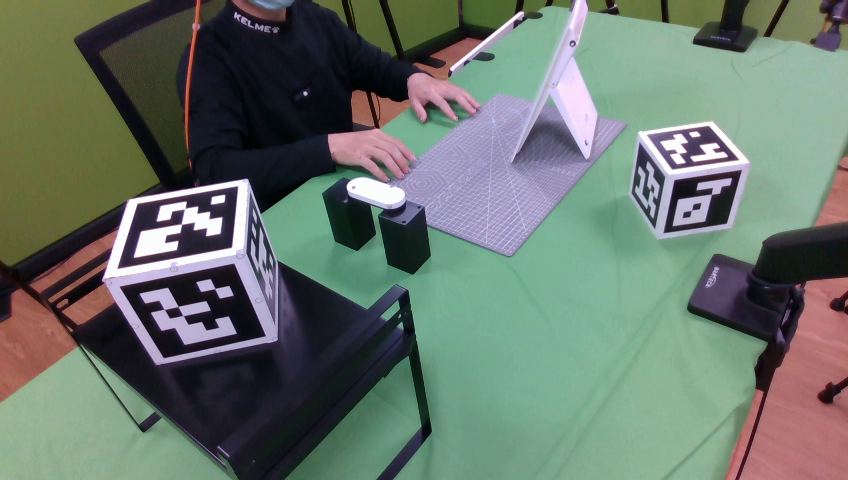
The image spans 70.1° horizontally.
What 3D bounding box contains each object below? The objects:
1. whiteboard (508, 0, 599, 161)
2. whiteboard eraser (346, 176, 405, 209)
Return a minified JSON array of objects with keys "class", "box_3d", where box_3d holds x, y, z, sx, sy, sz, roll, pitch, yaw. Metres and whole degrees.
[{"class":"whiteboard","box_3d":[0.285,-0.289,1.088,0.144,0.305,0.217,22,45,3]},{"class":"whiteboard eraser","box_3d":[-0.073,-0.072,0.909,0.100,0.019,0.041,20,49,29]}]
